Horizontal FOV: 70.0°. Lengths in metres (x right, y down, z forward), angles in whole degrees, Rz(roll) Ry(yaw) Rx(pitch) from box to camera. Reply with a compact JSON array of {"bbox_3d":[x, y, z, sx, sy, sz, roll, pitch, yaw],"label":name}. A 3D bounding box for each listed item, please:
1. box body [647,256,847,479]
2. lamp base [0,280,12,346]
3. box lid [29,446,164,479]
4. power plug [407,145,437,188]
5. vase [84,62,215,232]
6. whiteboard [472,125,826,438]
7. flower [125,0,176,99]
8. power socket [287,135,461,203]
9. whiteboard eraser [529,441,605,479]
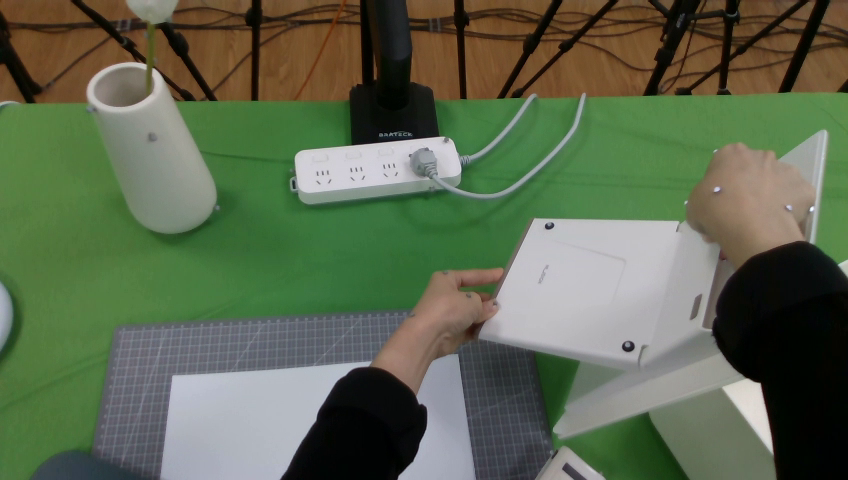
[{"bbox_3d":[0.414,0.222,0.548,0.254,0.161,0.360,-21,62,-18],"label":"box body"},{"bbox_3d":[-0.518,0.044,0.559,0.178,0.182,0.160,25,58,14],"label":"lamp base"},{"bbox_3d":[-0.225,0.349,0.494,0.371,0.015,0.261,19,58,6],"label":"box lid"},{"bbox_3d":[-0.004,-0.086,0.754,0.035,0.053,0.072,2,63,-4],"label":"power plug"},{"bbox_3d":[-0.295,-0.094,0.659,0.098,0.201,0.097,2,57,-3],"label":"vase"},{"bbox_3d":[0.168,0.021,0.541,0.144,0.306,0.216,32,59,-1],"label":"whiteboard"},{"bbox_3d":[-0.268,-0.132,0.588,0.038,0.362,0.044,44,54,2],"label":"flower"},{"bbox_3d":[-0.061,-0.093,0.779,0.227,0.033,0.071,-7,59,-10],"label":"power socket"},{"bbox_3d":[0.118,0.249,0.570,0.055,0.042,0.112,37,62,18],"label":"whiteboard eraser"}]
